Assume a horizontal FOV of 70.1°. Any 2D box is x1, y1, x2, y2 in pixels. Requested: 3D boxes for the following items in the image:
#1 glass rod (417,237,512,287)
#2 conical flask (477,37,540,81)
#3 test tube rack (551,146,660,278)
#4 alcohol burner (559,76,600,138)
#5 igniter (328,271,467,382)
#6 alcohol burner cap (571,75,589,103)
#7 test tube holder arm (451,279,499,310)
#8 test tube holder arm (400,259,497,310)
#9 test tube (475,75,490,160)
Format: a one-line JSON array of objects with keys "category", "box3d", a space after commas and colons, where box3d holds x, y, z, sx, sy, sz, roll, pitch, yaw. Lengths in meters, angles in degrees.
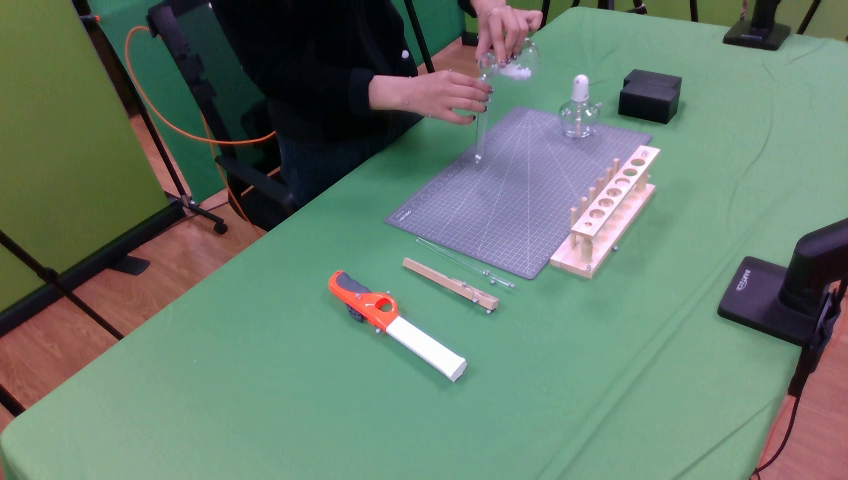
[{"category": "glass rod", "box3d": [0.058, 0.032, 0.945, 0.198, 0.008, 0.008, 26, 52, 38]}, {"category": "conical flask", "box3d": [0.139, -0.305, 1.035, 0.075, 0.075, 0.122, 22, 31, 32]}, {"category": "test tube rack", "box3d": [0.286, -0.053, 0.943, 0.066, 0.085, 0.243, 21, 49, 32]}, {"category": "alcohol burner", "box3d": [0.298, -0.258, 1.156, 0.078, 0.119, 0.077, -4, 39, 4]}, {"category": "igniter", "box3d": [-0.049, 0.114, 0.854, 0.274, 0.025, 0.057, 29, 63, 37]}, {"category": "alcohol burner cap", "box3d": [0.294, -0.285, 1.132, 0.034, 0.048, 0.033, -4, 46, 5]}, {"category": "test tube holder arm", "box3d": [0.071, 0.079, 0.882, 0.087, 0.015, 0.010, 24, 14, 34]}, {"category": "test tube holder arm", "box3d": [0.033, 0.064, 0.902, 0.177, 0.015, 0.013, 23, 14, 33]}, {"category": "test tube", "box3d": [0.100, -0.208, 1.039, 0.017, 0.150, 0.017, 2, 30, -1]}]
